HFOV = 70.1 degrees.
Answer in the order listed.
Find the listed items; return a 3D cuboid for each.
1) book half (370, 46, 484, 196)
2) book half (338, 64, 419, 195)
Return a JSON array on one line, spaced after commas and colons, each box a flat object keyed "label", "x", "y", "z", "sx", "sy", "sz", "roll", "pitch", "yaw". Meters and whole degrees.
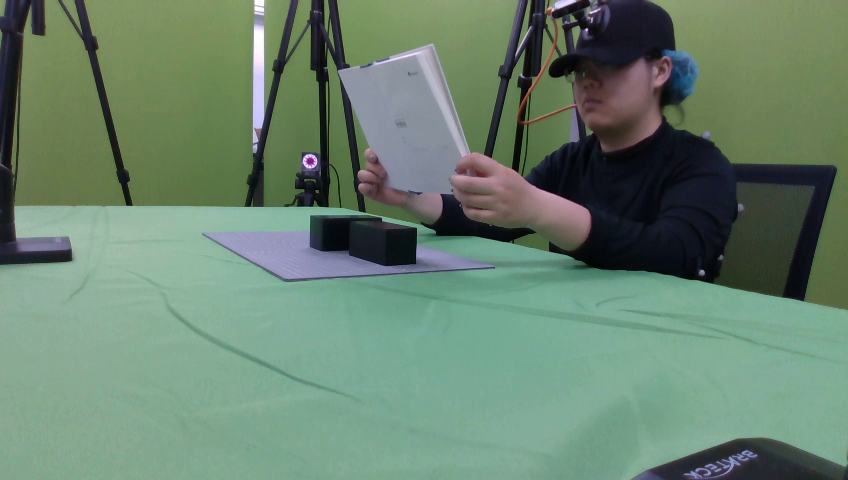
[{"label": "book half", "x": 0.003, "y": -0.157, "z": 0.849, "sx": 0.016, "sy": 0.210, "sz": 0.148, "roll": -32, "pitch": 23, "yaw": -27}, {"label": "book half", "x": -0.074, "y": -0.173, "z": 0.967, "sx": 0.007, "sy": 0.210, "sz": 0.142, "roll": -29, "pitch": 22, "yaw": -19}]
